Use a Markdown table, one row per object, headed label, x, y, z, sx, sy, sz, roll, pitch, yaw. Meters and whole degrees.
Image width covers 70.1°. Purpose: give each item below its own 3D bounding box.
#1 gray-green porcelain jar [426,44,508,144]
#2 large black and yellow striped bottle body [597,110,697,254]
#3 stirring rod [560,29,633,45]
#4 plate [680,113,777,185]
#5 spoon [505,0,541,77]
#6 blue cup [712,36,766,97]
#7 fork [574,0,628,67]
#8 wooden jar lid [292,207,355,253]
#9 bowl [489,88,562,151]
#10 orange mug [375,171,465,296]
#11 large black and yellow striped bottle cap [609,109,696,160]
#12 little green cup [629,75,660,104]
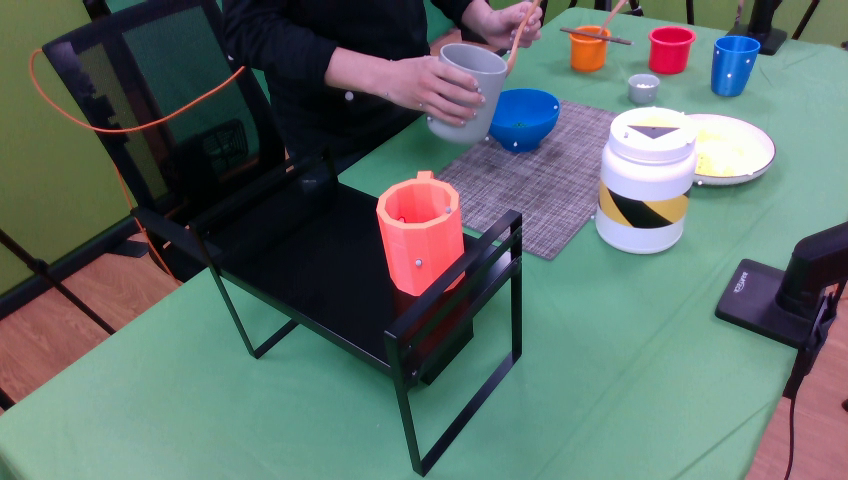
| label | x | y | z | sx | sy | sz | roll | pitch | yaw |
| --- | --- | --- | --- | --- | --- | --- | --- | --- | --- |
| gray-green porcelain jar | 0.062 | -0.221 | 0.935 | 0.106 | 0.126 | 0.105 | 10 | 36 | -7 |
| large black and yellow striped bottle body | 0.331 | -0.086 | 0.904 | 0.131 | 0.185 | 0.130 | -5 | 41 | 4 |
| stirring rod | 0.381 | -0.452 | 1.345 | 0.174 | 0.006 | 0.014 | 25 | 49 | 33 |
| plate | 0.506 | -0.158 | 1.073 | 0.209 | 0.038 | 0.208 | -5 | 40 | 4 |
| spoon | 0.166 | -0.354 | 1.040 | 0.021 | 0.042 | 0.193 | 23 | 84 | 10 |
| blue cup | 0.627 | -0.350 | 1.227 | 0.092 | 0.100 | 0.092 | -4 | 39 | 4 |
| fork | 0.413 | -0.481 | 1.377 | 0.207 | 0.019 | 0.028 | -56 | 43 | 12 |
| wooden jar lid | -0.169 | -0.016 | 1.026 | 0.108 | 0.021 | 0.108 | -4 | 40 | 4 |
| bowl | 0.187 | -0.223 | 1.161 | 0.151 | 0.077 | 0.150 | -4 | 40 | 4 |
| orange mug | 0.000 | -0.016 | 0.661 | 0.083 | 0.101 | 0.125 | -2 | 45 | 8 |
| large black and yellow striped bottle cap | 0.319 | -0.150 | 0.849 | 0.115 | 0.019 | 0.114 | -4 | 39 | 3 |
| little green cup | 0.457 | -0.314 | 1.260 | 0.061 | 0.039 | 0.061 | -4 | 40 | 4 |
